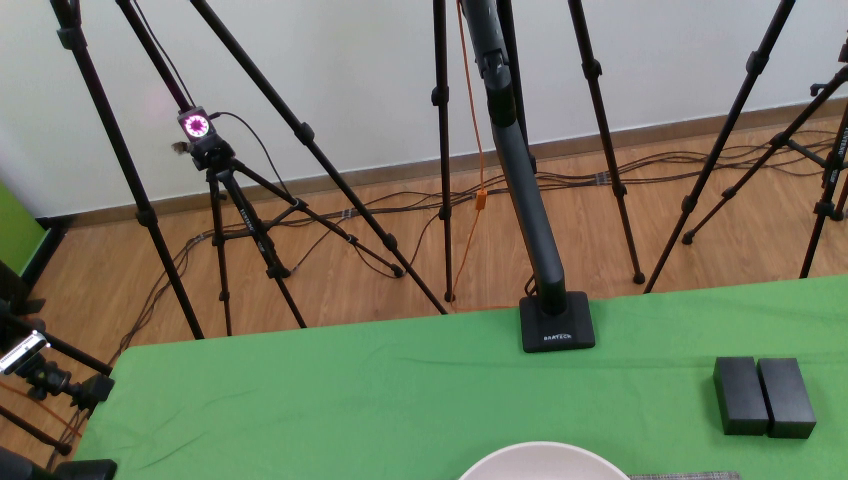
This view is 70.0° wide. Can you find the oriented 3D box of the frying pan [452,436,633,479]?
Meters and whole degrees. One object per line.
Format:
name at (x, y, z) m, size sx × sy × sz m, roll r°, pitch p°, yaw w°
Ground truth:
frying pan at (0.139, 0.464, 0.692) m, size 0.306 × 0.104 × 0.483 m, roll -5°, pitch 38°, yaw 14°
